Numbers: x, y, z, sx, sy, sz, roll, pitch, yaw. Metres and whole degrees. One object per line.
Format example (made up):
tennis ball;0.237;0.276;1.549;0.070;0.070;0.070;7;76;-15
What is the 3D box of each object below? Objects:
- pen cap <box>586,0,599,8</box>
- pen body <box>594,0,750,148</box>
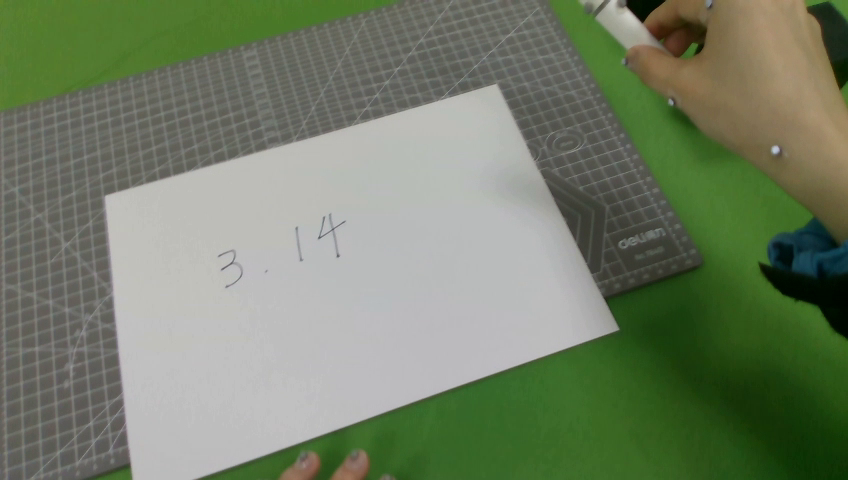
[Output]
pen cap;0.092;-0.154;0.353;0.038;0.017;0.017;45;72;-3
pen body;0.138;-0.109;0.357;0.144;0.017;0.017;45;72;-3
